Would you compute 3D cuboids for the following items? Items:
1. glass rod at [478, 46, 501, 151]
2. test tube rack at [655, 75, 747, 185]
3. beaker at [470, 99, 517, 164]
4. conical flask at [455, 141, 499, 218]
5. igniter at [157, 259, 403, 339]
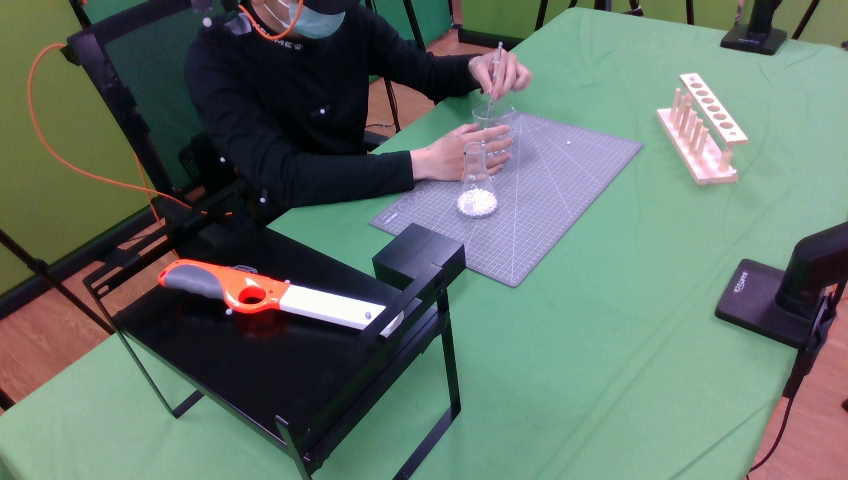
[{"bbox_3d":[0.119,-0.257,1.115,0.008,0.200,0.008,7,32,-4],"label":"glass rod"},{"bbox_3d":[0.491,-0.205,1.092,0.067,0.085,0.241,-5,40,3],"label":"test tube rack"},{"bbox_3d":[0.130,-0.200,1.125,0.084,0.100,0.074,1,41,8],"label":"beaker"},{"bbox_3d":[0.085,-0.103,0.999,0.075,0.122,0.075,-4,40,4],"label":"conical flask"},{"bbox_3d":[-0.157,0.059,0.638,0.275,0.025,0.057,11,43,14],"label":"igniter"}]
